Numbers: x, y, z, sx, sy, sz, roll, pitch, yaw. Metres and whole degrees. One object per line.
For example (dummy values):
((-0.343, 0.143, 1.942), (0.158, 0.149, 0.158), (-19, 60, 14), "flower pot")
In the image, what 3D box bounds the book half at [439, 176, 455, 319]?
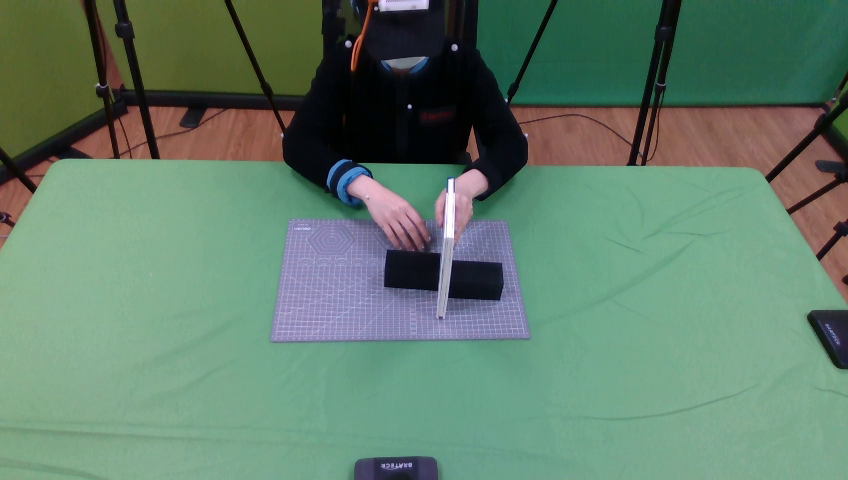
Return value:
((0.038, 0.017, 1.047), (0.016, 0.211, 0.147), (3, 46, 0), "book half")

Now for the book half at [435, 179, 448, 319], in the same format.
((0.031, 0.019, 1.045), (0.007, 0.211, 0.142), (4, 46, 1), "book half")
